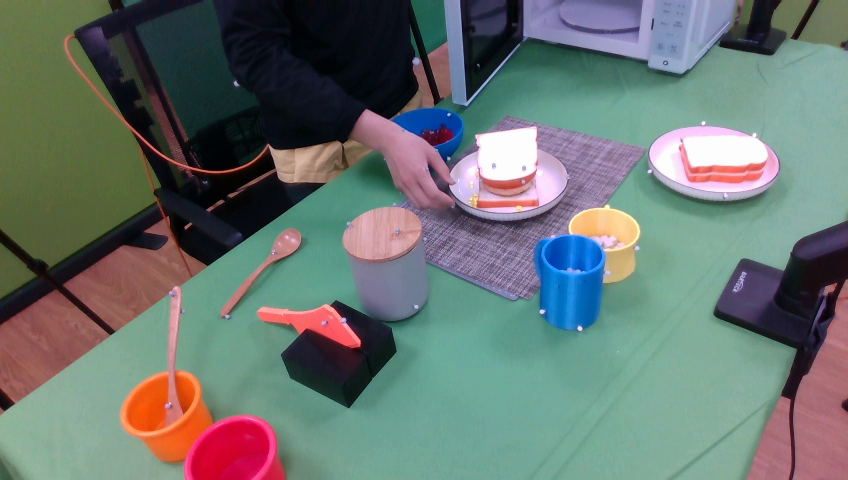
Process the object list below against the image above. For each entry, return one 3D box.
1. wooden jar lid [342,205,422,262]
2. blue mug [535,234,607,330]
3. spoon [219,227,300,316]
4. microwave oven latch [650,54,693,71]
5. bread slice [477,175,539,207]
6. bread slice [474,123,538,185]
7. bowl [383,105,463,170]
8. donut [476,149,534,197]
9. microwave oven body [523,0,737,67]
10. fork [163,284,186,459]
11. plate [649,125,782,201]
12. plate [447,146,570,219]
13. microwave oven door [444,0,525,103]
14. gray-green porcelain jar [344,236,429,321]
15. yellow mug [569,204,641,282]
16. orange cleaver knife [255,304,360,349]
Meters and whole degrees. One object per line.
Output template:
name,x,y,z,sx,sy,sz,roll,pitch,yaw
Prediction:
wooden jar lid,-0.055,-0.005,0.808,0.108,0.021,0.108,-6,41,6
blue mug,0.190,0.048,0.824,0.082,0.106,0.115,-26,44,-21
spoon,-0.261,0.046,0.954,0.041,0.021,0.194,27,48,10
microwave oven latch,0.531,-0.386,1.301,0.078,0.029,0.030,26,51,33
bread slice,0.144,-0.105,1.057,0.105,0.019,0.131,-1,43,6
bread slice,0.141,-0.143,1.008,0.107,0.018,0.133,-8,47,8
bowl,0.002,-0.185,1.143,0.151,0.077,0.150,-4,40,4
donut,0.138,-0.116,1.025,0.099,0.048,0.098,-8,56,13
microwave oven body,0.475,-0.602,1.411,0.438,0.261,0.327,23,50,32
fork,-0.302,0.157,0.733,0.028,0.019,0.207,-3,84,15
plate,0.493,-0.128,1.036,0.207,0.039,0.206,-4,41,4
plate,0.145,-0.098,1.046,0.209,0.038,0.208,-4,40,4
microwave oven door,0.142,-0.494,1.327,0.039,0.245,0.356,15,45,24
gray-green porcelain jar,-0.049,0.042,0.849,0.106,0.127,0.105,-4,41,4
yellow mug,0.268,-0.005,0.904,0.099,0.064,0.130,7,41,15
orange cleaver knife,-0.161,0.115,0.813,0.210,0.077,0.012,-4,32,47
